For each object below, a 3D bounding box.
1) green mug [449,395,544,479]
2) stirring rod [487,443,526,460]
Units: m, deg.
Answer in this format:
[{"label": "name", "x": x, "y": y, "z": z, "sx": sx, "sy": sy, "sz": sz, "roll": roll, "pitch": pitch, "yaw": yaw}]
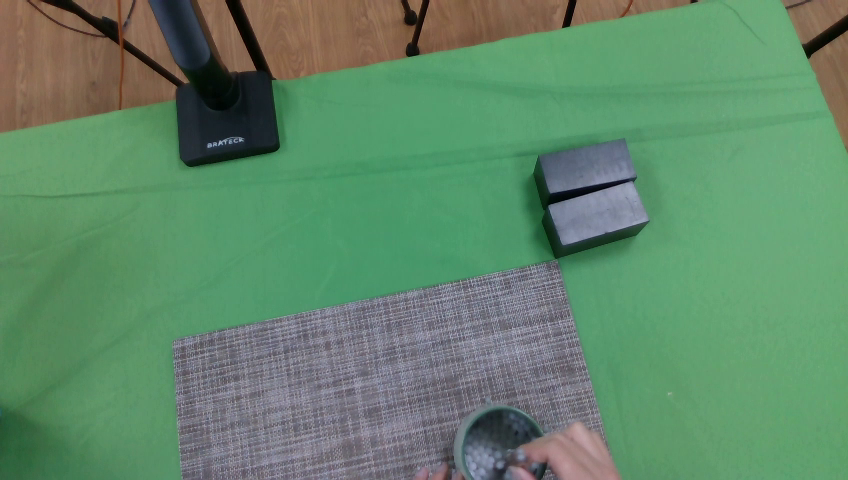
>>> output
[{"label": "green mug", "x": 0.079, "y": 0.211, "z": 0.589, "sx": 0.092, "sy": 0.105, "sz": 0.124, "roll": -28, "pitch": 74, "yaw": -7}, {"label": "stirring rod", "x": 0.070, "y": 0.188, "z": 0.535, "sx": 0.014, "sy": 0.177, "sz": 0.006, "roll": 9, "pitch": 68, "yaw": 4}]
